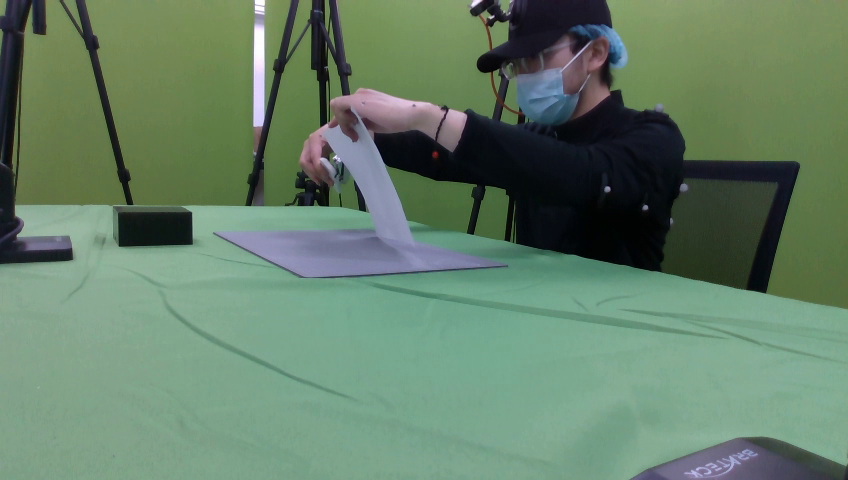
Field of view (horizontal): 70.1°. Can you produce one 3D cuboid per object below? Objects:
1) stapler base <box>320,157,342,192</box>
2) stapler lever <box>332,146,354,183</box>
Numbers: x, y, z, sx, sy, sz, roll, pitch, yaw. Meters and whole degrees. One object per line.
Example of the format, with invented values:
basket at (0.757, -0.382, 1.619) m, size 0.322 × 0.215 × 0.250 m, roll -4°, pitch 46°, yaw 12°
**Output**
stapler base at (-0.168, -0.126, 1.127) m, size 0.024 × 0.041 × 0.130 m, roll -38°, pitch -6°, yaw -12°
stapler lever at (-0.151, -0.141, 1.134) m, size 0.040 × 0.027 × 0.118 m, roll -38°, pitch -6°, yaw -10°
